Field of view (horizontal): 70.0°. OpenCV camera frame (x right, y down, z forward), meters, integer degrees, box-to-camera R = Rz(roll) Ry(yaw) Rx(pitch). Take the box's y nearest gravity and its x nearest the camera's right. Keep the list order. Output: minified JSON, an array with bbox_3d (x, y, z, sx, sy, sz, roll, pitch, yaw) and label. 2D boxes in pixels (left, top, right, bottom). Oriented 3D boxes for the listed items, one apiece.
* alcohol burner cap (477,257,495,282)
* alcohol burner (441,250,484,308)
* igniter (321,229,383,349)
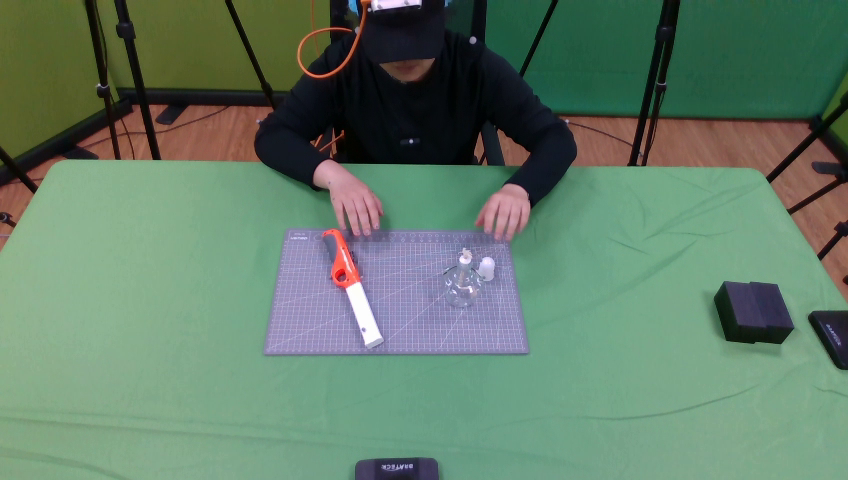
[{"bbox_3d":[0.118,0.053,1.140,0.034,0.048,0.033,2,46,-1],"label":"alcohol burner cap"},{"bbox_3d":[0.069,0.064,1.075,0.078,0.120,0.077,1,45,-1],"label":"alcohol burner"},{"bbox_3d":[-0.134,0.078,1.102,0.057,0.025,0.274,-28,53,0],"label":"igniter"}]
